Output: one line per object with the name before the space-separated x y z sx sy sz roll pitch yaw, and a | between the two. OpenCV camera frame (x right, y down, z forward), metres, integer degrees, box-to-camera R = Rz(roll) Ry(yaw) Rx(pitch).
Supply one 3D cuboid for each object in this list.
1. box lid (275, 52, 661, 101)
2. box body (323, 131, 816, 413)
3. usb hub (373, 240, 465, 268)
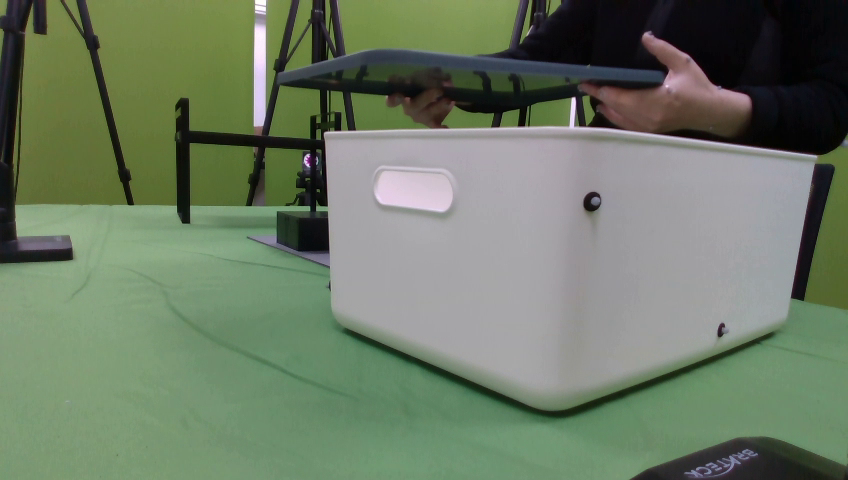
box lid | 0.049 -0.173 0.672 0.373 0.015 0.262 -6 11 -32
box body | 0.125 -0.001 0.510 0.366 0.160 0.253 -4 10 -40
usb hub | -0.006 0.018 0.826 0.126 0.025 0.049 -4 9 -39
